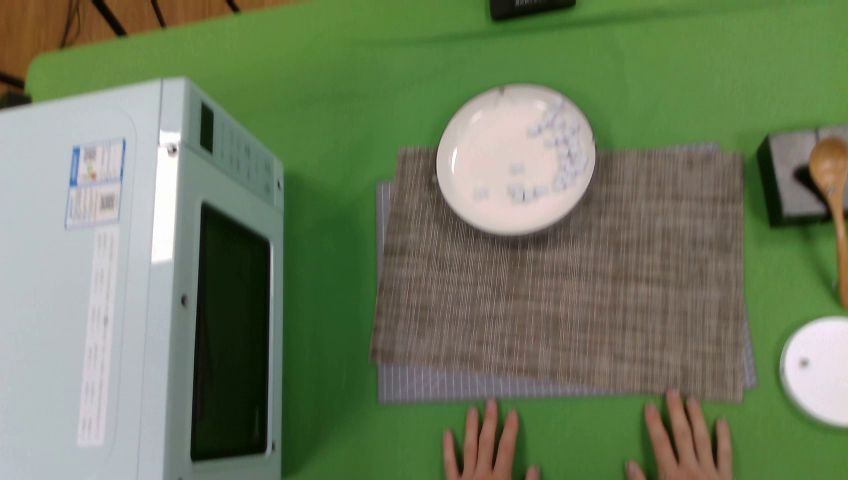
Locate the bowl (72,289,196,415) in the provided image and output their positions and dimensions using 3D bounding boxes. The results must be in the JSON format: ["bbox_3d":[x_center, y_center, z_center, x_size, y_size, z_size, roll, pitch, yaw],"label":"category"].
[{"bbox_3d":[-0.342,0.141,0.752,0.151,0.077,0.150,-3,73,11],"label":"bowl"}]

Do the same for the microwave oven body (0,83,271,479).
[{"bbox_3d":[-0.377,0.086,0.742,0.325,0.262,0.439,-7,74,10],"label":"microwave oven body"}]

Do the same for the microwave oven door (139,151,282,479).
[{"bbox_3d":[-0.233,0.106,0.698,0.039,0.245,0.353,-8,73,11],"label":"microwave oven door"}]

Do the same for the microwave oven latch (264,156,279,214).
[{"bbox_3d":[-0.222,-0.076,0.854,0.030,0.030,0.078,-7,74,10],"label":"microwave oven latch"}]

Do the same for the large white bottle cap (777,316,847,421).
[{"bbox_3d":[0.455,0.141,0.669,0.114,0.018,0.114,-3,75,11],"label":"large white bottle cap"}]

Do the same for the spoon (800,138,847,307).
[{"bbox_3d":[0.453,-0.017,0.674,0.041,0.021,0.194,-12,95,8],"label":"spoon"}]

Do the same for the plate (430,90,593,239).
[{"bbox_3d":[0.114,-0.097,0.797,0.209,0.038,0.208,-4,73,12],"label":"plate"}]
